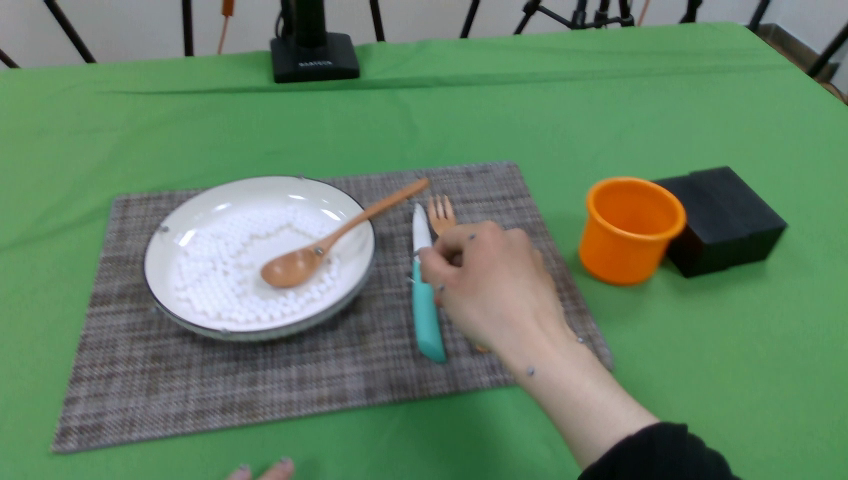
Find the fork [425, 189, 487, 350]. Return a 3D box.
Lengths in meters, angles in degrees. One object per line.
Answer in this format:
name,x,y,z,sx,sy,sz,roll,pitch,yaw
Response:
fork,0.031,0.020,0.591,0.028,0.019,0.205,2,42,-18

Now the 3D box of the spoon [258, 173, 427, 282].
spoon,-0.073,-0.016,0.587,0.194,0.022,0.041,-36,54,-18

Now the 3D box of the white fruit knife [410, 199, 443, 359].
white fruit knife,-0.003,0.026,0.588,0.027,0.016,0.205,23,37,-25

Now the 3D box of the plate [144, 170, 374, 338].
plate,-0.151,0.011,0.575,0.209,0.038,0.207,2,44,-2
